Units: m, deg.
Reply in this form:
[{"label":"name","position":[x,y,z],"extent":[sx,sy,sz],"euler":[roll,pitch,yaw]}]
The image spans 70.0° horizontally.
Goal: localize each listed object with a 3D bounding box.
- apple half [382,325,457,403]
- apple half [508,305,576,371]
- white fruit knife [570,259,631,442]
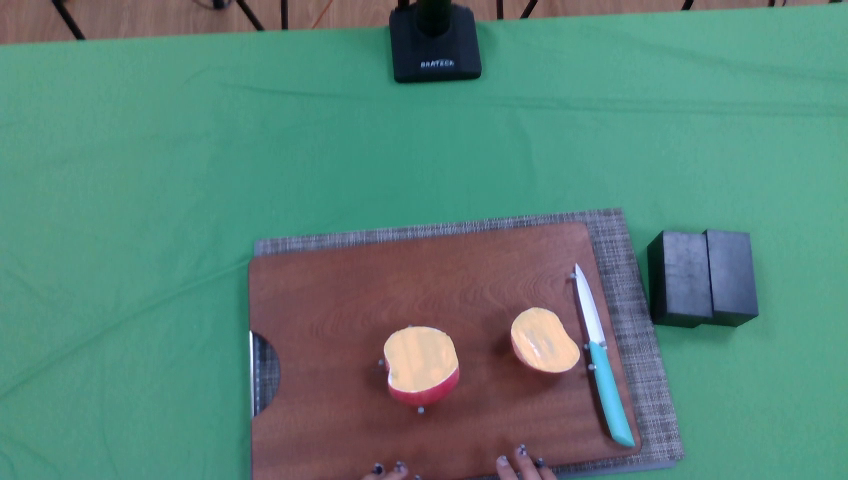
[{"label":"apple half","position":[-0.004,0.133,0.626],"extent":[0.075,0.054,0.080],"euler":[-15,45,-6]},{"label":"apple half","position":[0.119,0.111,0.648],"extent":[0.081,0.033,0.080],"euler":[14,49,-16]},{"label":"white fruit knife","position":[0.188,0.116,0.663],"extent":[0.027,0.016,0.205],"euler":[5,63,-31]}]
